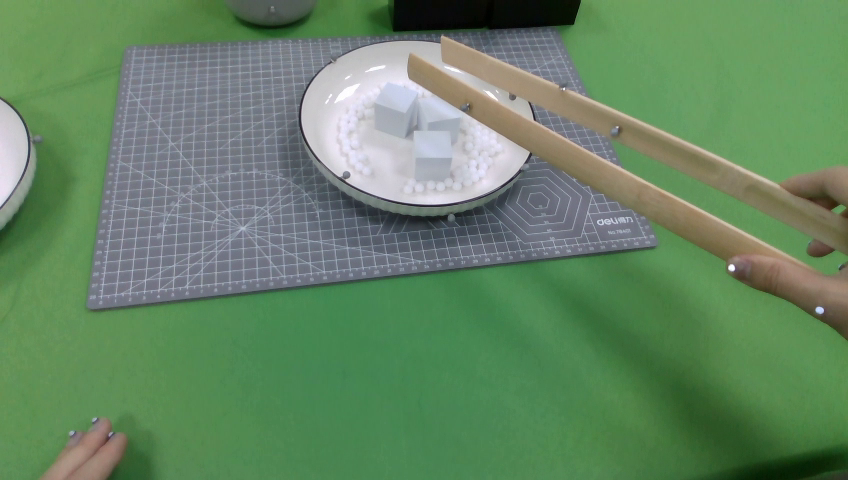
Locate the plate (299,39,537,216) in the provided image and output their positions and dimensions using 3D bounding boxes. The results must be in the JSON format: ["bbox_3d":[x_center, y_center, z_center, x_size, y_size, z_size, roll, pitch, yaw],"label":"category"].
[{"bbox_3d":[-0.005,-0.101,0.543,0.209,0.038,0.207,3,55,-3],"label":"plate"}]

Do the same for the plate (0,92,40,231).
[{"bbox_3d":[-0.406,-0.042,0.466,0.208,0.039,0.205,3,55,-4],"label":"plate"}]

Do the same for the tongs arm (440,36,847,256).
[{"bbox_3d":[0.150,-0.059,0.421,0.382,0.027,0.050,31,54,24],"label":"tongs arm"}]

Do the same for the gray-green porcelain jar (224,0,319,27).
[{"bbox_3d":[-0.160,-0.291,0.611,0.106,0.127,0.105,2,54,-3],"label":"gray-green porcelain jar"}]

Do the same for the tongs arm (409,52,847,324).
[{"bbox_3d":[0.133,-0.045,0.408,0.384,0.028,0.028,34,52,26],"label":"tongs arm"}]
